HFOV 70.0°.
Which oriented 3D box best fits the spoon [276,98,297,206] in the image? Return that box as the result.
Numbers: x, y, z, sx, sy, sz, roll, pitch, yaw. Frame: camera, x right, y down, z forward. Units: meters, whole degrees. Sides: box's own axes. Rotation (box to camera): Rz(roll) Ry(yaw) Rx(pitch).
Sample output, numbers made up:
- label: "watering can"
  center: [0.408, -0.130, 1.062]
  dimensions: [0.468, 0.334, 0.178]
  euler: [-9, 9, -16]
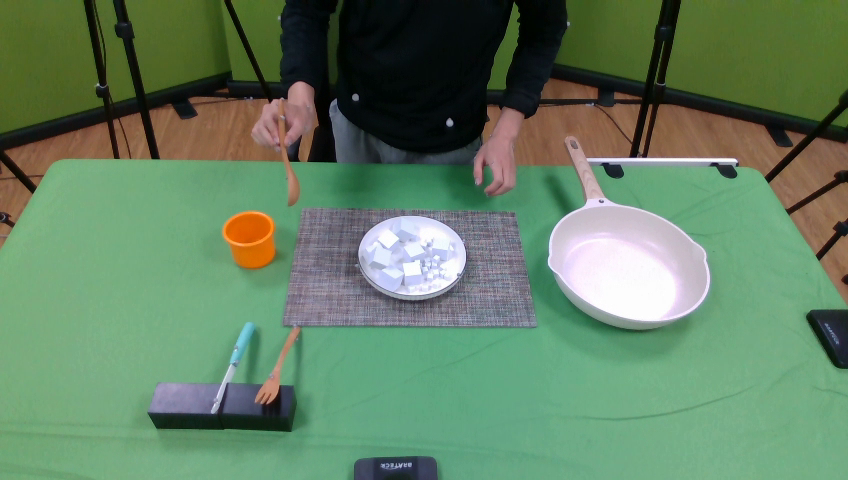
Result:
- label: "spoon"
  center: [-0.243, -0.149, 1.052]
  dimensions: [0.021, 0.194, 0.041]
  euler: [3, 28, 13]

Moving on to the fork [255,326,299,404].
- label: "fork"
  center: [-0.226, 0.192, 0.955]
  dimensions: [0.028, 0.019, 0.206]
  euler: [0, 27, 4]

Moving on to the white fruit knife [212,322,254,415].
- label: "white fruit knife"
  center: [-0.298, 0.193, 0.947]
  dimensions: [0.016, 0.027, 0.206]
  euler: [2, 31, -1]

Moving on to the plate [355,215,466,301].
- label: "plate"
  center: [-0.025, 0.038, 1.143]
  dimensions: [0.208, 0.039, 0.206]
  euler: [3, 46, -2]

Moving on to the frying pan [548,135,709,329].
- label: "frying pan"
  center: [0.360, -0.033, 1.200]
  dimensions: [0.307, 0.103, 0.484]
  euler: [-4, 55, -9]
